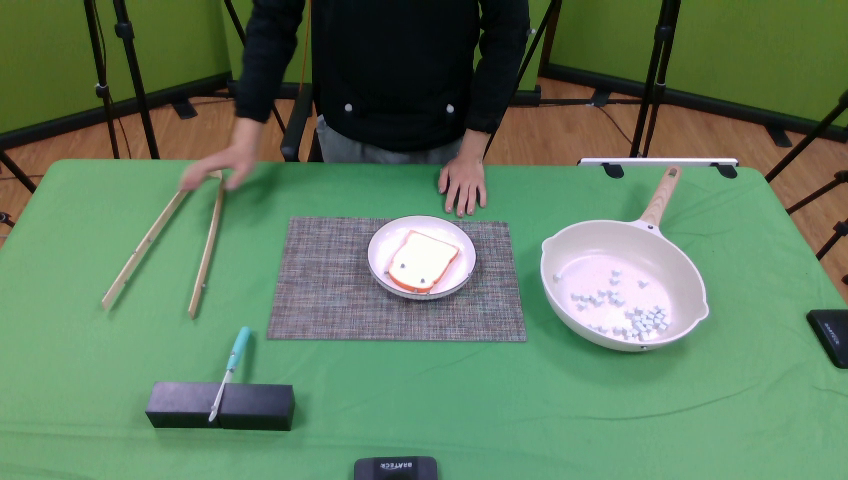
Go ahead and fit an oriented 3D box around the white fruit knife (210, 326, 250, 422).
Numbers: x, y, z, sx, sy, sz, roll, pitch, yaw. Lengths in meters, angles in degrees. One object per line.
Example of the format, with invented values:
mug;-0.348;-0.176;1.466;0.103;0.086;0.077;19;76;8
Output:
white fruit knife;-0.300;0.201;0.942;0.016;0.027;0.206;1;32;-1

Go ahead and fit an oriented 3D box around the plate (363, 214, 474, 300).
plate;-0.010;0.036;1.146;0.208;0.039;0.206;3;46;-2

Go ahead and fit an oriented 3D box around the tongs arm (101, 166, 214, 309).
tongs arm;-0.499;-0.018;1.166;0.051;0.026;0.382;8;45;2

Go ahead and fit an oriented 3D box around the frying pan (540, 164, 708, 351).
frying pan;0.407;0.012;1.160;0.306;0.103;0.486;26;58;18

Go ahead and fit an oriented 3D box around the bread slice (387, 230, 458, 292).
bread slice;-0.007;0.043;1.142;0.107;0.018;0.134;18;46;14

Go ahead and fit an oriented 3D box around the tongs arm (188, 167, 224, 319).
tongs arm;-0.420;-0.009;1.170;0.028;0.028;0.385;-3;47;-4
